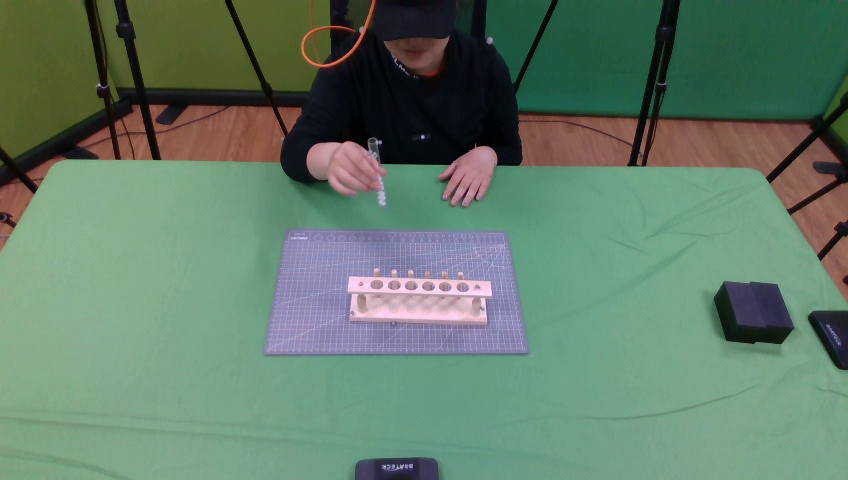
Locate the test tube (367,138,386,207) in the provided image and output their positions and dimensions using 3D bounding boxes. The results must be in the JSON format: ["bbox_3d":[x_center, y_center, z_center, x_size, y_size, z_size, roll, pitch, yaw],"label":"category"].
[{"bbox_3d":[-0.080,-0.112,1.033,0.017,0.151,0.017,-2,48,3],"label":"test tube"}]

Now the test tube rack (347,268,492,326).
[{"bbox_3d":[-0.009,0.095,1.059,0.242,0.085,0.066,2,46,-2],"label":"test tube rack"}]
